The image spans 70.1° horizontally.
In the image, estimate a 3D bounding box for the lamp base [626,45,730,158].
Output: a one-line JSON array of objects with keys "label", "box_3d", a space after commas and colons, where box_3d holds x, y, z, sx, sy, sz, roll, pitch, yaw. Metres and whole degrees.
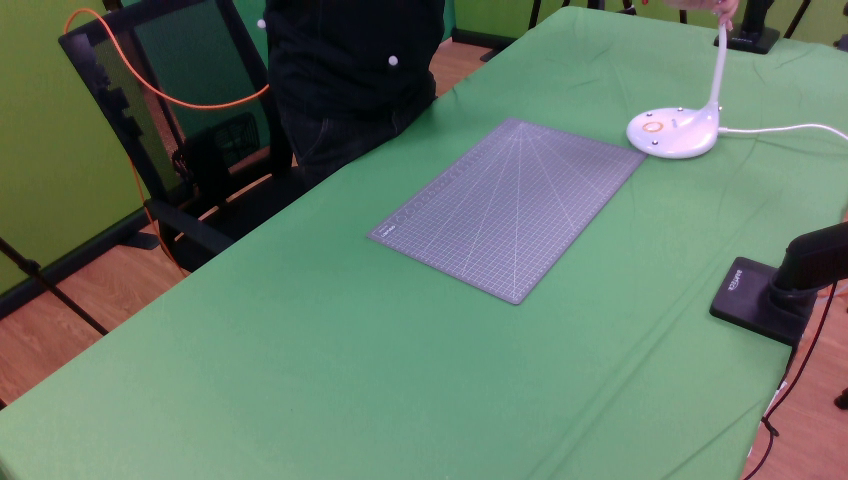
[{"label": "lamp base", "box_3d": [0.468, -0.262, 1.085, 0.179, 0.181, 0.159, -4, 41, -1]}]
